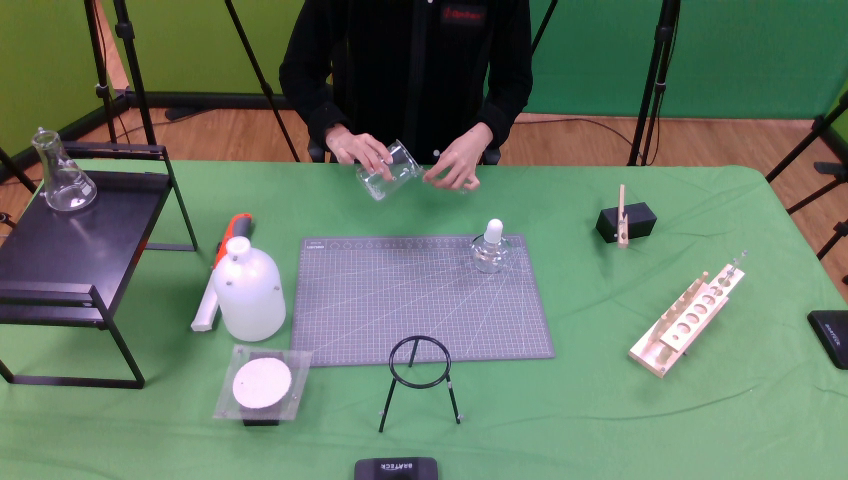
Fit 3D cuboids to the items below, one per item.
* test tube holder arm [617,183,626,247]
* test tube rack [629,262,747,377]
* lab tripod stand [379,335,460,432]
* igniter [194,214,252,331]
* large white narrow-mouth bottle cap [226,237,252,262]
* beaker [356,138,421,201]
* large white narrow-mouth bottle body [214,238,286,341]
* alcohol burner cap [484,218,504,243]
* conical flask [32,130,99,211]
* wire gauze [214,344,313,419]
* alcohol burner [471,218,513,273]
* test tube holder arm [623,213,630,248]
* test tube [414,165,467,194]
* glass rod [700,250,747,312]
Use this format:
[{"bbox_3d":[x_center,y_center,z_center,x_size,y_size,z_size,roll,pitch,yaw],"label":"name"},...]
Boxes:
[{"bbox_3d":[0.395,-0.054,1.210,0.013,0.015,0.177,15,47,-1],"label":"test tube holder arm"},{"bbox_3d":[0.464,0.126,1.061,0.242,0.085,0.066,-34,56,-30],"label":"test tube rack"},{"bbox_3d":[-0.011,0.214,0.911,0.148,0.132,0.147,1,45,0],"label":"lab tripod stand"},{"bbox_3d":[-0.367,0.050,1.119,0.057,0.025,0.275,-4,46,7],"label":"igniter"},{"bbox_3d":[-0.282,0.014,0.923,0.038,0.024,0.037,2,46,-2],"label":"large white narrow-mouth bottle cap"},{"bbox_3d":[-0.065,-0.124,1.094,0.100,0.084,0.073,-37,53,0],"label":"beaker"},{"bbox_3d":[-0.285,0.073,0.986,0.102,0.195,0.101,2,46,-2],"label":"large white narrow-mouth bottle body"},{"bbox_3d":[0.130,-0.021,1.106,0.034,0.048,0.033,3,51,-4],"label":"alcohol burner cap"},{"bbox_3d":[-0.565,-0.111,0.944,0.075,0.122,0.075,2,46,-2],"label":"conical flask"},{"bbox_3d":[-0.241,0.213,0.916,0.121,0.011,0.124,5,46,1],"label":"wire gauze"},{"bbox_3d":[0.128,0.005,1.132,0.078,0.120,0.077,0,47,0],"label":"alcohol burner"},{"bbox_3d":[0.392,-0.020,1.180,0.010,0.015,0.087,15,47,-1],"label":"test tube holder arm"},{"bbox_3d":[0.035,-0.116,1.178,0.151,0.017,0.017,19,29,-46],"label":"test tube"},{"bbox_3d":[0.500,0.075,1.021,0.008,0.201,0.008,0,54,1],"label":"glass rod"}]
